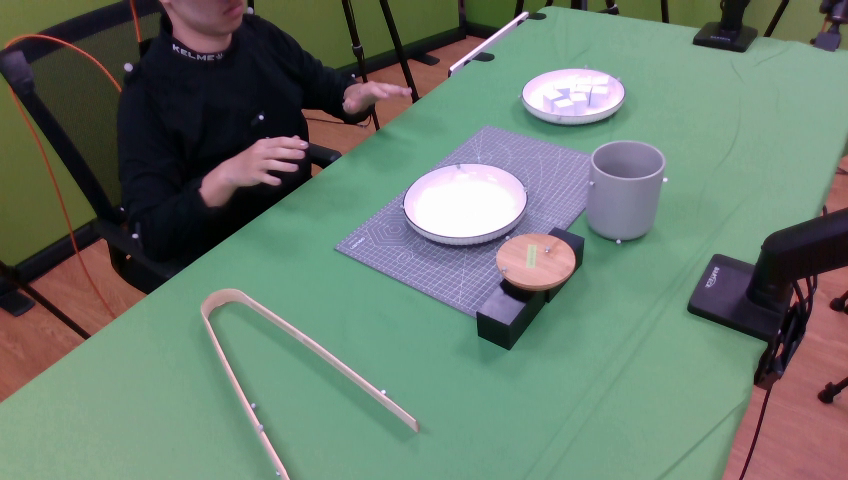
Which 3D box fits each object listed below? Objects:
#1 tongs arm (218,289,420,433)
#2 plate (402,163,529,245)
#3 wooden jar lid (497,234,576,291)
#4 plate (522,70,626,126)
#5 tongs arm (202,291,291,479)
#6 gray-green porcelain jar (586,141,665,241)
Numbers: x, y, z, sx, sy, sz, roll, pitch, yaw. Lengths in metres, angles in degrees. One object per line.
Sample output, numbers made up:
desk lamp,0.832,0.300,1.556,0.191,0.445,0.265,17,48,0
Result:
tongs arm,-0.153,0.150,0.811,0.384,0.028,0.028,26,53,33
plate,0.069,-0.056,1.008,0.209,0.038,0.208,-4,40,4
wooden jar lid,0.155,0.032,0.834,0.108,0.021,0.108,-5,40,5
plate,0.308,-0.290,1.251,0.207,0.039,0.206,-4,40,4
tongs arm,-0.216,0.187,0.772,0.051,0.026,0.381,-28,44,-24
gray-green porcelain jar,0.305,-0.070,0.927,0.106,0.127,0.105,-4,41,4
